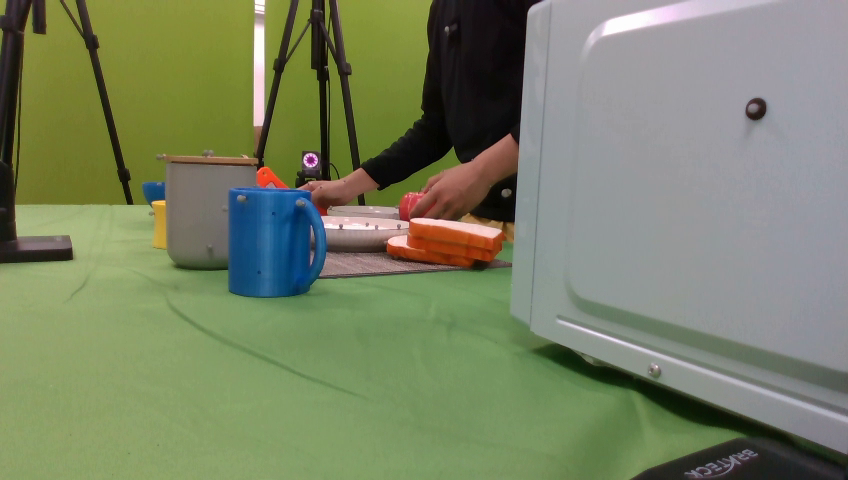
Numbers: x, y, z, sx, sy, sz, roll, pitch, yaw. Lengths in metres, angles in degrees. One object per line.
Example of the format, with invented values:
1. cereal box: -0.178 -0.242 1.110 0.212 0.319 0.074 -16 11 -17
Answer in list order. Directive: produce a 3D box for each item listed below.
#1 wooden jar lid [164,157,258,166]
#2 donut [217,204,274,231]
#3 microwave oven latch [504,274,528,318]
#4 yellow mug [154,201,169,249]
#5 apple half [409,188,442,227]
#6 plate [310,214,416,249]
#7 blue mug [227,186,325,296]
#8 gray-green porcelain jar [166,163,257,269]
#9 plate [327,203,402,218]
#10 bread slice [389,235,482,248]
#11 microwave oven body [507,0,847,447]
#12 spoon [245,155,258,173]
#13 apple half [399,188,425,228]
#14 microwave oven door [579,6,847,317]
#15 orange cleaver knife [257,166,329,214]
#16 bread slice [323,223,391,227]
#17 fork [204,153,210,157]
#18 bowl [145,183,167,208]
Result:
1. wooden jar lid: -0.261 -0.093 0.746 0.108 0.020 0.108 1 9 0
2. donut: -0.318 -0.038 1.080 0.099 0.048 0.099 3 7 0
3. microwave oven latch: 0.100 0.041 0.471 0.079 0.029 0.030 -1 8 -28
4. yellow mug: -0.338 -0.022 0.899 0.130 0.064 0.100 8 9 34
5. apple half: 0.011 -0.060 1.121 0.082 0.081 0.032 -6 10 -44
6. plate: -0.117 -0.014 0.967 0.208 0.039 0.207 2 7 0
7. blue mug: -0.146 0.000 0.618 0.116 0.106 0.083 7 9 32
8. gray-green porcelain jar: -0.263 -0.031 0.754 0.106 0.126 0.106 2 7 0
9. plate: -0.102 -0.053 1.299 0.209 0.038 0.209 2 8 0
10. bread slice: 0.016 0.002 0.873 0.131 0.019 0.105 1 -1 2
11. microwave oven body: 0.331 -0.042 0.425 0.444 0.260 0.324 -2 8 -31
12. spoon: -0.421 -0.150 1.540 0.042 0.021 0.193 -5 55 -37
13. apple half: -0.016 -0.062 1.148 0.081 0.074 0.053 -13 11 -42
14. microwave oven door: 0.294 -0.067 0.570 0.358 0.243 0.039 -3 9 -31
15. orange cleaver knife: -0.293 -0.085 1.330 0.212 0.077 0.012 34 -13 -38
16. bread slice: -0.116 -0.013 0.975 0.135 0.018 0.106 -6 11 -42
17. fork: -0.480 -0.136 1.412 0.028 0.018 0.207 0 -34 -1
18. bowl: -0.459 -0.068 1.175 0.151 0.077 0.151 3 7 0
